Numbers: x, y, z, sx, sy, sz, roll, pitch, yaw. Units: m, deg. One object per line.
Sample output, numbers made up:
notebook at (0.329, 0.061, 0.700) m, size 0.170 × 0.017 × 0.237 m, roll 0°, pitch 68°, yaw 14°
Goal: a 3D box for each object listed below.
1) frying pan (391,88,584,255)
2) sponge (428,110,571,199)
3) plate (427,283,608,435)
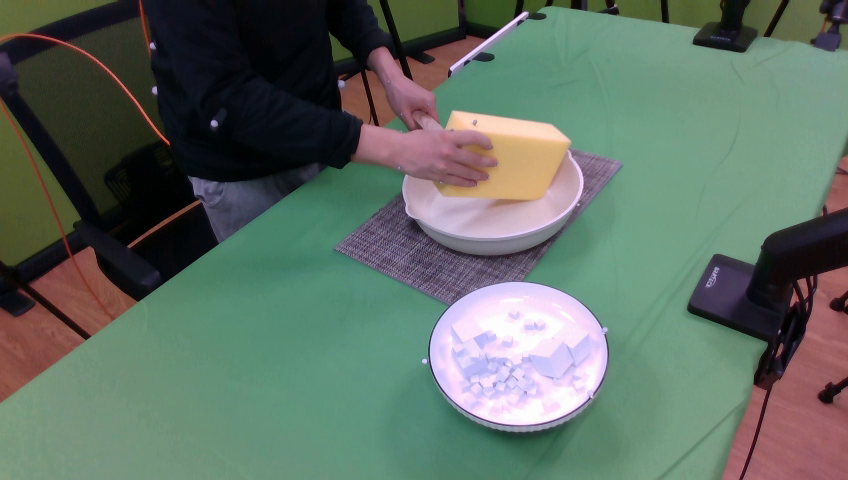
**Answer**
frying pan at (0.063, -0.143, 1.056) m, size 0.308 × 0.103 × 0.483 m, roll -22°, pitch 51°, yaw -18°
sponge at (0.121, -0.131, 0.966) m, size 0.208 × 0.118 × 0.060 m, roll 0°, pitch 39°, yaw -34°
plate at (0.108, 0.137, 0.708) m, size 0.207 × 0.039 × 0.206 m, roll -4°, pitch 42°, yaw 4°
